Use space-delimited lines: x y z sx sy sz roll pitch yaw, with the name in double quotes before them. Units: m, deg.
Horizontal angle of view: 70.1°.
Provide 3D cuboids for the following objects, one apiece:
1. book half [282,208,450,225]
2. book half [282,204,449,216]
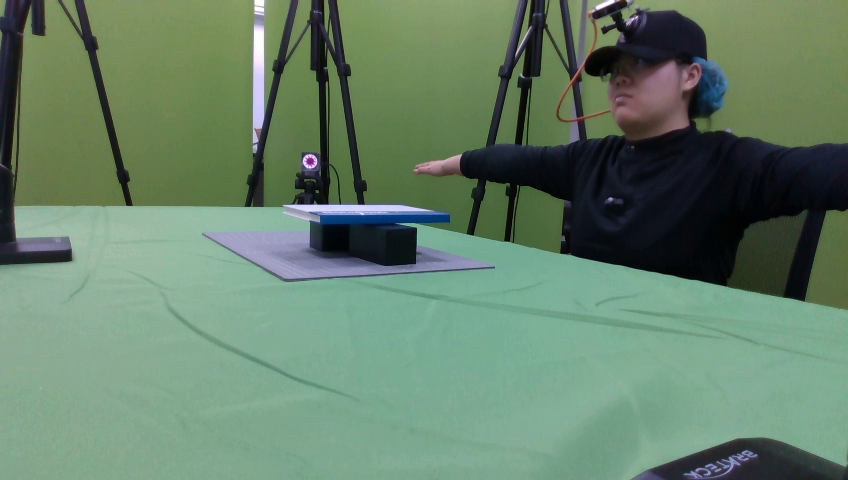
"book half" -0.086 -0.037 0.905 0.211 0.016 0.148 -1 9 -32
"book half" -0.088 -0.045 0.907 0.211 0.007 0.142 -2 9 -32
